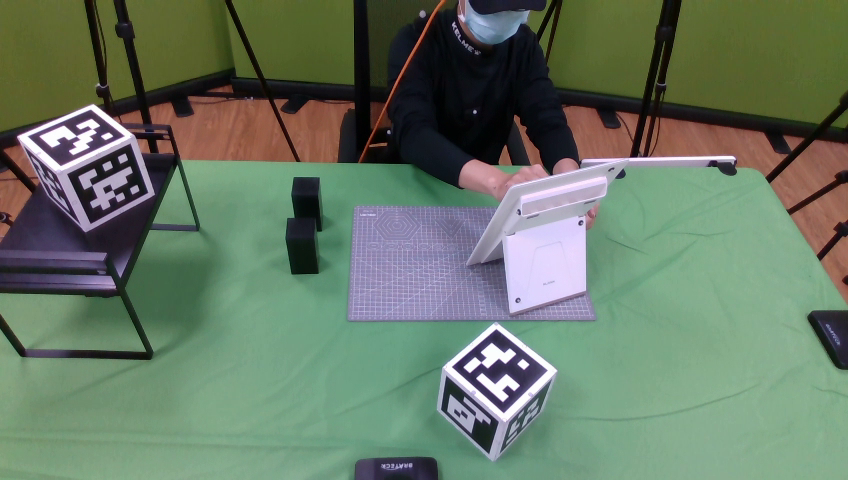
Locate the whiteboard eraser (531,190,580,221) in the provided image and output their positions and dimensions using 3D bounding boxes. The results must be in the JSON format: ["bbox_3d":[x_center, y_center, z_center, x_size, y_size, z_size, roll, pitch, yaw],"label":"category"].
[{"bbox_3d":[0.235,-0.063,1.089,0.041,0.101,0.019,-14,77,-44],"label":"whiteboard eraser"}]

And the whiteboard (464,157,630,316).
[{"bbox_3d":[0.224,0.015,1.041,0.217,0.306,0.143,-14,68,-17],"label":"whiteboard"}]
